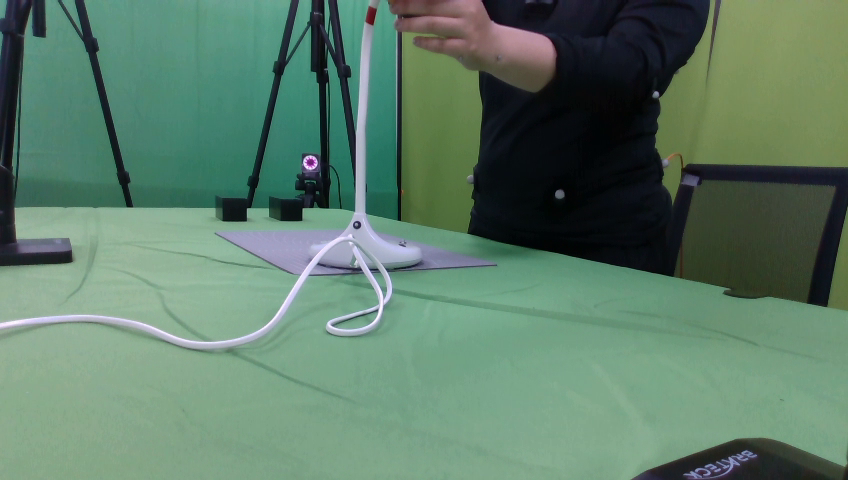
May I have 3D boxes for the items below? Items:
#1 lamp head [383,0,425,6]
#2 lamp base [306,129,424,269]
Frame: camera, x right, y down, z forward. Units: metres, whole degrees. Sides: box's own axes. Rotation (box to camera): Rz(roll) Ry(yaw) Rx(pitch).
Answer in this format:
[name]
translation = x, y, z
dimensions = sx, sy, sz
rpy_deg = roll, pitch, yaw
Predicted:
[lamp head]
translation = -0.025, -0.325, 0.669
dimensions = 0.112, 0.123, 0.112
rpy_deg = 4, 3, 0
[lamp base]
translation = -0.078, -0.057, 0.810
dimensions = 0.161, 0.180, 0.179
rpy_deg = 1, 10, -4
